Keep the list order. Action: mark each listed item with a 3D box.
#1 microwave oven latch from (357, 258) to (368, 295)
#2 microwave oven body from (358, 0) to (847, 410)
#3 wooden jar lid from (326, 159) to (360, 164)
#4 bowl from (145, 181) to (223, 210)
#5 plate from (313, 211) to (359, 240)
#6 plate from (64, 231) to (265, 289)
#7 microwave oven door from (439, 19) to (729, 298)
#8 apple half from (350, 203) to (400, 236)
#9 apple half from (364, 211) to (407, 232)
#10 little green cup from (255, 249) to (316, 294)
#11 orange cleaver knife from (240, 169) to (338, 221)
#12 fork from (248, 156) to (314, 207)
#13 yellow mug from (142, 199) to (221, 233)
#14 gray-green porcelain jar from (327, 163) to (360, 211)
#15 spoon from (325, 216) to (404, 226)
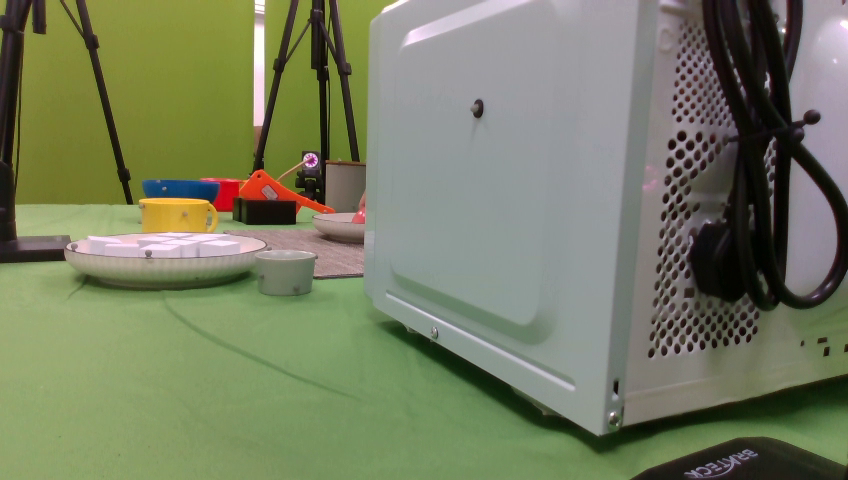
[{"bbox_3d":[-0.019,0.031,0.528,0.079,0.029,0.030,-1,7,-25],"label":"microwave oven latch"},{"bbox_3d":[0.210,-0.051,0.471,0.444,0.260,0.324,-1,7,-28],"label":"microwave oven body"},{"bbox_3d":[-0.185,-0.187,1.481,0.108,0.020,0.108,4,6,0],"label":"wooden jar lid"},{"bbox_3d":[-0.499,-0.081,1.261,0.151,0.077,0.151,3,7,0],"label":"bowl"},{"bbox_3d":[-0.090,-0.026,1.062,0.209,0.038,0.209,2,7,0],"label":"plate"},{"bbox_3d":[-0.288,0.021,0.687,0.208,0.039,0.207,2,8,0],"label":"plate"},{"bbox_3d":[0.181,-0.076,0.618,0.358,0.243,0.039,-2,8,-28],"label":"microwave oven door"},{"bbox_3d":[-0.081,-0.036,1.024,0.081,0.053,0.074,-3,11,-34],"label":"apple half"},{"bbox_3d":[-0.068,-0.037,1.103,0.081,0.033,0.081,-1,11,0],"label":"apple half"},{"bbox_3d":[-0.144,0.032,0.626,0.061,0.038,0.061,3,7,0],"label":"little green cup"},{"bbox_3d":[-0.286,-0.082,1.298,0.212,0.077,0.012,25,-1,-31],"label":"orange cleaver knife"},{"bbox_3d":[-0.360,-0.147,1.523,0.207,0.018,0.028,-43,16,-7],"label":"fork"},{"bbox_3d":[-0.372,-0.030,0.947,0.099,0.064,0.131,5,7,30],"label":"yellow mug"},{"bbox_3d":[-0.186,-0.125,1.490,0.106,0.126,0.106,2,8,0],"label":"gray-green porcelain jar"},{"bbox_3d":[-0.120,-0.043,1.272,0.195,0.021,0.041,-4,-11,-39],"label":"spoon"}]
